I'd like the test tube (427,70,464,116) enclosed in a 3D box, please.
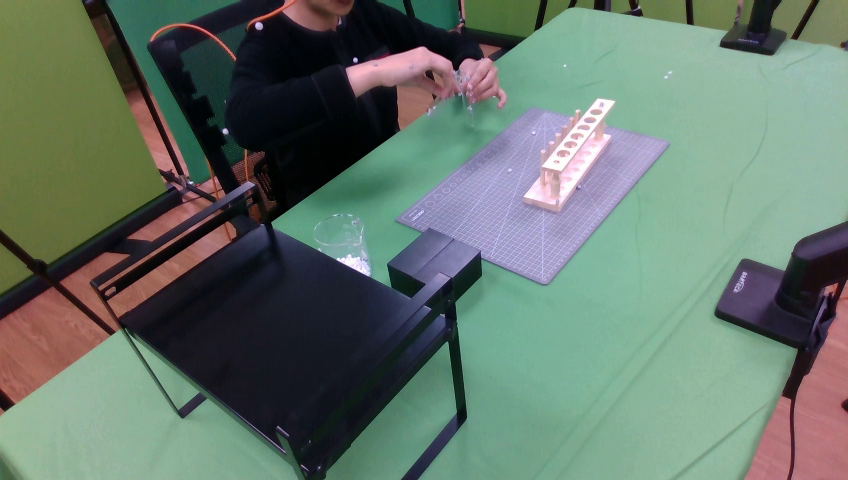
[{"bbox_3d":[0.038,-0.253,1.036,0.017,0.017,0.150,11,43,21],"label":"test tube"}]

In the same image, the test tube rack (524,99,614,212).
[{"bbox_3d":[0.259,-0.158,1.069,0.066,0.085,0.243,19,47,28],"label":"test tube rack"}]

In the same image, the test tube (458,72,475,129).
[{"bbox_3d":[0.082,-0.264,1.162,0.017,0.151,0.017,-5,61,9],"label":"test tube"}]

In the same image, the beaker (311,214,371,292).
[{"bbox_3d":[-0.118,0.022,0.908,0.083,0.101,0.074,26,51,32],"label":"beaker"}]
